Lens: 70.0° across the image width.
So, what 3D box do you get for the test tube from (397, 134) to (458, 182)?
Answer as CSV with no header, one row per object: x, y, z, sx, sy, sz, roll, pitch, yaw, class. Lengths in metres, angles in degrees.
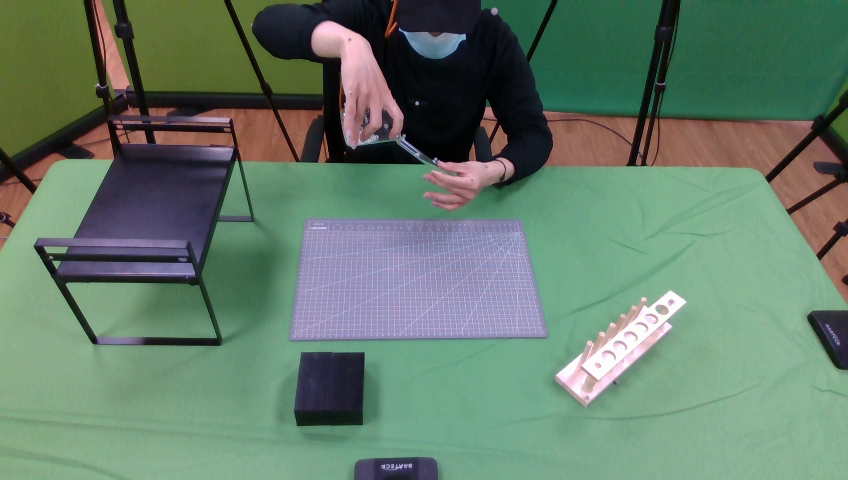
0.009,-0.151,1.137,0.151,0.017,0.017,33,38,-30,test tube

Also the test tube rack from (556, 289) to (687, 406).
0.332,0.165,1.014,0.242,0.085,0.066,-31,55,-28,test tube rack

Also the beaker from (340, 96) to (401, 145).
-0.094,-0.207,1.074,0.100,0.084,0.073,-8,42,-2,beaker
